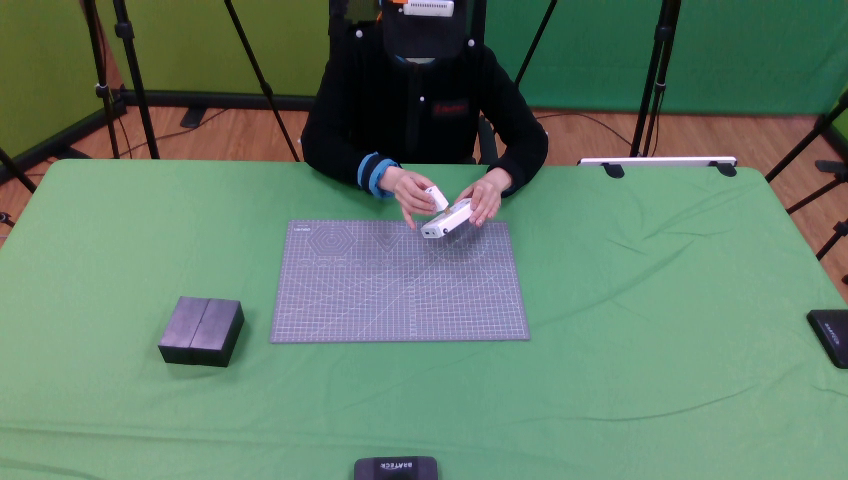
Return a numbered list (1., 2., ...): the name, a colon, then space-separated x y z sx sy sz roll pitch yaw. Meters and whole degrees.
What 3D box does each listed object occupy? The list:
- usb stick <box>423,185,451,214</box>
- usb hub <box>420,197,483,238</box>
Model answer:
1. usb stick: 0.027 -0.072 1.128 0.059 0.027 0.021 49 54 -19
2. usb hub: 0.054 -0.043 1.152 0.125 0.025 0.049 -35 21 -31
